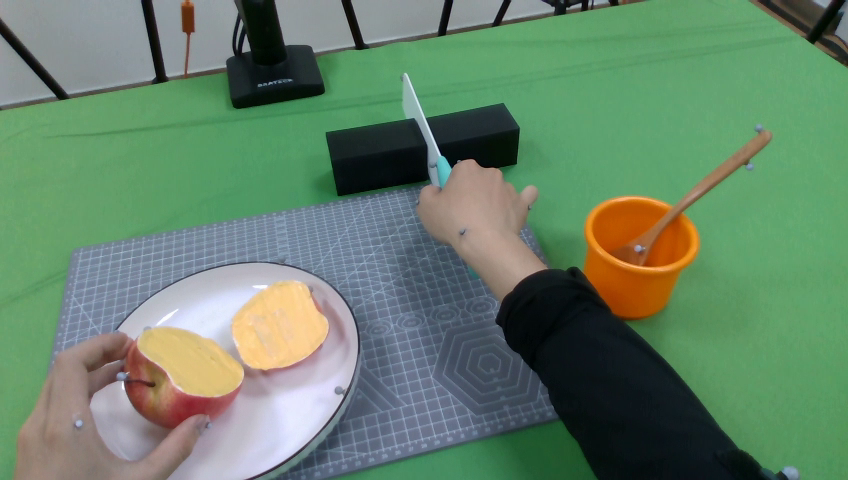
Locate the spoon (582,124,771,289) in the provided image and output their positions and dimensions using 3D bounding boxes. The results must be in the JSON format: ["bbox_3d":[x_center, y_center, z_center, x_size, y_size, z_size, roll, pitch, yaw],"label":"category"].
[{"bbox_3d":[0.213,-0.026,0.517,0.022,0.194,0.041,24,28,-39],"label":"spoon"}]

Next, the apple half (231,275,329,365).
[{"bbox_3d":[-0.118,0.072,0.503,0.081,0.033,0.080,-3,60,5],"label":"apple half"}]

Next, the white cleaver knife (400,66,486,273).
[{"bbox_3d":[0.013,-0.079,0.626,0.021,0.066,0.283,-12,52,-7],"label":"white cleaver knife"}]

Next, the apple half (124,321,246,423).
[{"bbox_3d":[-0.180,0.103,0.450,0.080,0.053,0.075,33,14,13],"label":"apple half"}]

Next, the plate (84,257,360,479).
[{"bbox_3d":[-0.154,0.102,0.483,0.209,0.038,0.207,-1,47,1],"label":"plate"}]
